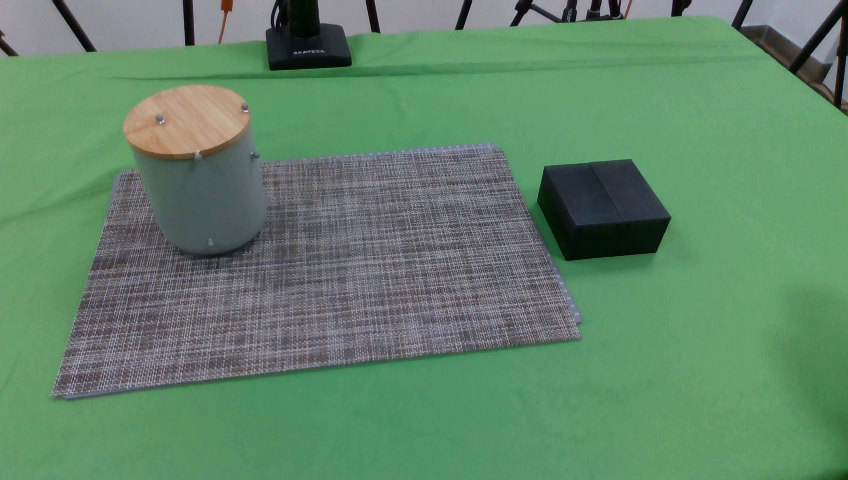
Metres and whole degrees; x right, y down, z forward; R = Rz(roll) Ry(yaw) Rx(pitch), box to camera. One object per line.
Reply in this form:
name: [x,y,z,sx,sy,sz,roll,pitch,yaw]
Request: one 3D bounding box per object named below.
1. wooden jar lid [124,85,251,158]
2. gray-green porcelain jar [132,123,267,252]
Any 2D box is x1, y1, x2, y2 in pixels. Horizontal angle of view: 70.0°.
wooden jar lid: [-0.210,-0.104,0.546,0.108,0.021,0.107,3,46,-2]
gray-green porcelain jar: [-0.212,-0.059,0.589,0.106,0.127,0.105,2,44,-1]
